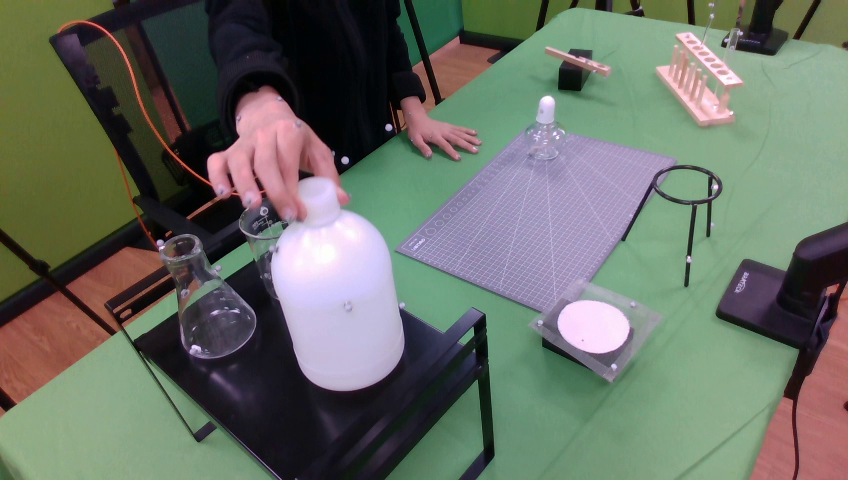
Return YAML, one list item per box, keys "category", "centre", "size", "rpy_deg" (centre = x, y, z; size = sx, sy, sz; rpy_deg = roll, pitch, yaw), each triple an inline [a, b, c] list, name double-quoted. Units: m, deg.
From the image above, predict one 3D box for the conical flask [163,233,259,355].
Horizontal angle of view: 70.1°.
- category: "conical flask"
  centre: [-0.217, 0.051, 0.601]
  size: [0.075, 0.122, 0.075]
  rpy_deg: [-5, 40, 4]

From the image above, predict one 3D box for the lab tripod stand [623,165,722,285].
- category: "lab tripod stand"
  centre: [0.365, -0.030, 0.874]
  size: [0.148, 0.132, 0.147]
  rpy_deg: [-6, 41, 6]

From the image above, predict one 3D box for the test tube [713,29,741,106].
- category: "test tube"
  centre: [0.572, -0.324, 1.146]
  size: [0.017, 0.151, 0.017]
  rpy_deg: [-3, 39, 3]

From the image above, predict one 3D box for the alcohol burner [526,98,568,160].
- category: "alcohol burner"
  centre: [0.228, -0.210, 1.118]
  size: [0.078, 0.119, 0.077]
  rpy_deg: [-5, 43, 5]

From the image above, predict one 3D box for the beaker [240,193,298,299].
- category: "beaker"
  centre: [-0.143, 0.009, 0.656]
  size: [0.084, 0.101, 0.073]
  rpy_deg: [-25, 43, -20]

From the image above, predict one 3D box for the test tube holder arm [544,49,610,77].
- category: "test tube holder arm"
  centre: [0.330, -0.387, 1.314]
  size: [0.013, 0.015, 0.177]
  rpy_deg: [-25, 43, -31]

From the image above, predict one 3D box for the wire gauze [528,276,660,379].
- category: "wire gauze"
  centre: [0.214, 0.103, 0.763]
  size: [0.124, 0.011, 0.122]
  rpy_deg: [30, 52, 35]

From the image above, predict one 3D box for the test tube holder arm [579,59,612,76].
- category: "test tube holder arm"
  centre: [0.362, -0.368, 1.289]
  size: [0.010, 0.015, 0.087]
  rpy_deg: [-25, 43, -31]

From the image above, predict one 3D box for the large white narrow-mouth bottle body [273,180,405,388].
- category: "large white narrow-mouth bottle body"
  centre: [-0.077, 0.034, 0.530]
  size: [0.102, 0.195, 0.101]
  rpy_deg: [-4, 37, 4]

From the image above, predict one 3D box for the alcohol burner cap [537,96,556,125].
- category: "alcohol burner cap"
  centre: [0.223, -0.237, 1.095]
  size: [0.034, 0.048, 0.033]
  rpy_deg: [-1, 42, 1]

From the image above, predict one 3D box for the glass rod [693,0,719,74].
- category: "glass rod"
  centre: [0.561, -0.401, 1.214]
  size: [0.008, 0.200, 0.008]
  rpy_deg: [-1, 48, 2]

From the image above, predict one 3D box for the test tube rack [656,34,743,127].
- category: "test tube rack"
  centre: [0.553, -0.330, 1.233]
  size: [0.067, 0.085, 0.241]
  rpy_deg: [-7, 40, 2]

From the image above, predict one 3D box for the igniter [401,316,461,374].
- category: "igniter"
  centre: [-0.059, 0.107, 0.862]
  size: [0.274, 0.025, 0.057]
  rpy_deg: [28, 62, 34]

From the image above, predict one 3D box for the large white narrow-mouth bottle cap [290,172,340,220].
- category: "large white narrow-mouth bottle cap"
  centre: [-0.086, -0.035, 0.478]
  size: [0.038, 0.024, 0.037]
  rpy_deg: [-4, 37, 3]
